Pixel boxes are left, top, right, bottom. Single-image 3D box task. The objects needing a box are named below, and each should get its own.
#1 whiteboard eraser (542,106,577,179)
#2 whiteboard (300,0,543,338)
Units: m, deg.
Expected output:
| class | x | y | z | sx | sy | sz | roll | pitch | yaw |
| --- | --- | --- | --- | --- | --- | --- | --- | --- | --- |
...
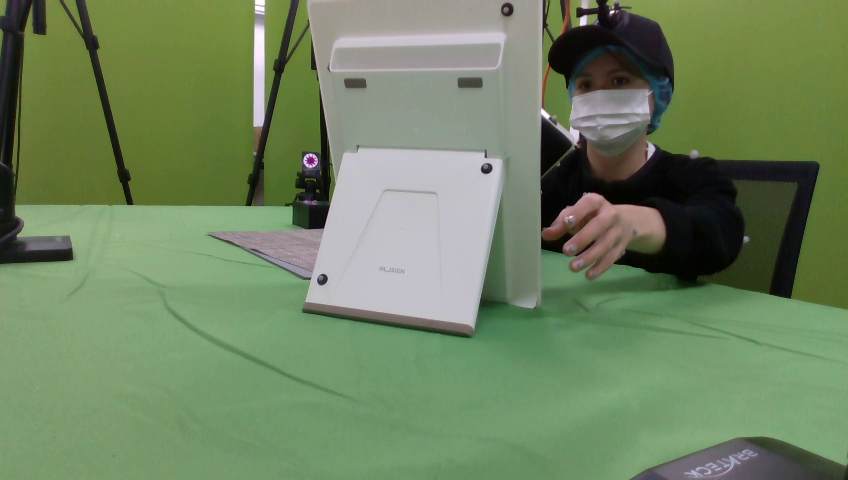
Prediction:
| class | x | y | z | sx | sy | sz | roll | pitch | yaw |
| --- | --- | --- | --- | --- | --- | --- | --- | --- | --- |
| whiteboard eraser | 0.086 | -0.071 | 0.571 | 0.055 | 0.112 | 0.042 | 40 | 34 | -6 |
| whiteboard | -0.020 | -0.050 | 0.523 | 0.216 | 0.305 | 0.144 | 6 | 27 | 22 |
